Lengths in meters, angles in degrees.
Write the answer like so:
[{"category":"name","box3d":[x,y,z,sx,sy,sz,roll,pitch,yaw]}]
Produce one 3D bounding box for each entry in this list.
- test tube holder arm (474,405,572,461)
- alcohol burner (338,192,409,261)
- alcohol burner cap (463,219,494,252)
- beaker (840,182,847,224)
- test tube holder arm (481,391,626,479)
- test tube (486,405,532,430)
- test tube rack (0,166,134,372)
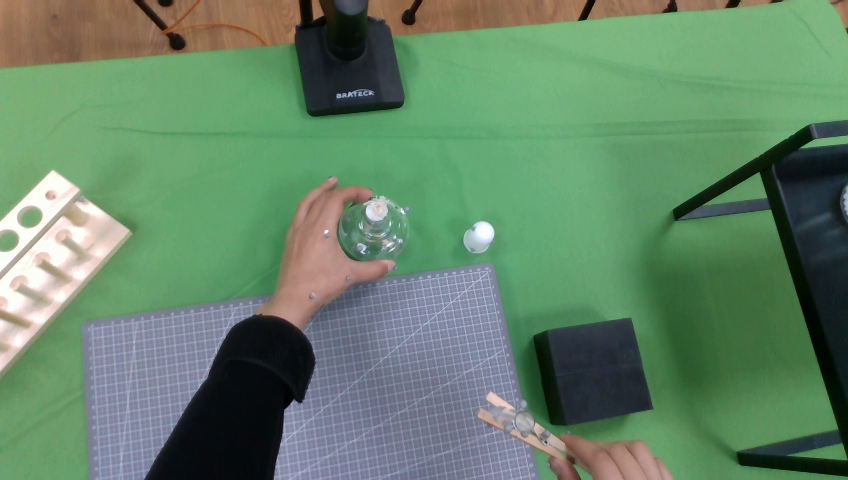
[{"category":"test tube holder arm","box3d":[0.084,0.163,0.510,0.087,0.015,0.010,24,83,5]},{"category":"alcohol burner","box3d":[-0.053,-0.020,0.646,0.078,0.119,0.077,2,73,-8]},{"category":"alcohol burner cap","box3d":[0.065,-0.006,0.705,0.034,0.048,0.033,2,74,-8]},{"category":"beaker","box3d":[0.447,-0.044,0.558,0.084,0.100,0.073,21,72,-2]},{"category":"test tube holder arm","box3d":[0.126,0.179,0.506,0.178,0.015,0.013,31,84,6]},{"category":"test tube","box3d":[0.066,0.144,0.497,0.017,0.151,0.017,1,76,-2]},{"category":"test tube rack","box3d":[-0.407,0.050,0.590,0.067,0.085,0.241,36,73,2]}]
